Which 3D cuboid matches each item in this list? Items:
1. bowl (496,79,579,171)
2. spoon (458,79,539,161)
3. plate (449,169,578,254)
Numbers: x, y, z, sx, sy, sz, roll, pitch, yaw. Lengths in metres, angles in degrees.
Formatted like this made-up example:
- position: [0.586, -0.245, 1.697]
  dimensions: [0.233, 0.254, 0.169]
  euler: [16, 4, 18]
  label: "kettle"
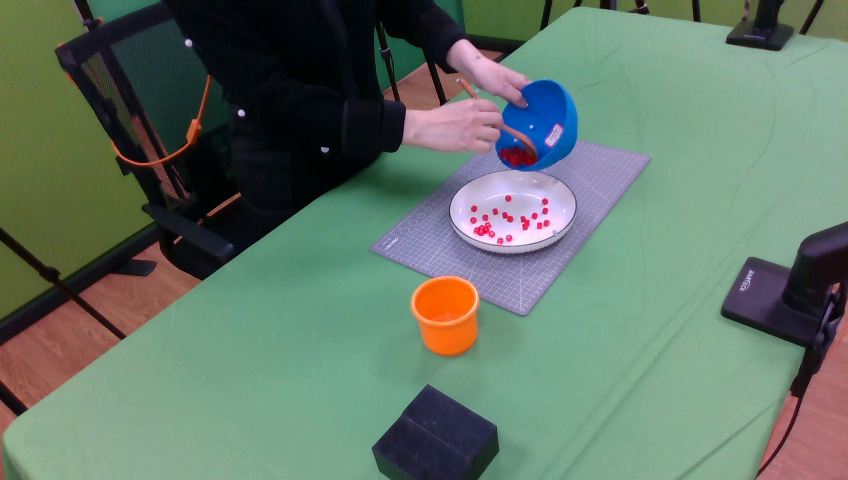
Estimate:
- position: [0.197, -0.174, 0.980]
  dimensions: [0.077, 0.151, 0.150]
  euler: [17, 24, -37]
  label: "bowl"
- position: [0.118, -0.184, 0.938]
  dimensions: [0.021, 0.195, 0.041]
  euler: [-50, 32, 12]
  label: "spoon"
- position: [0.146, -0.044, 0.994]
  dimensions: [0.209, 0.038, 0.208]
  euler: [-5, 40, 5]
  label: "plate"
